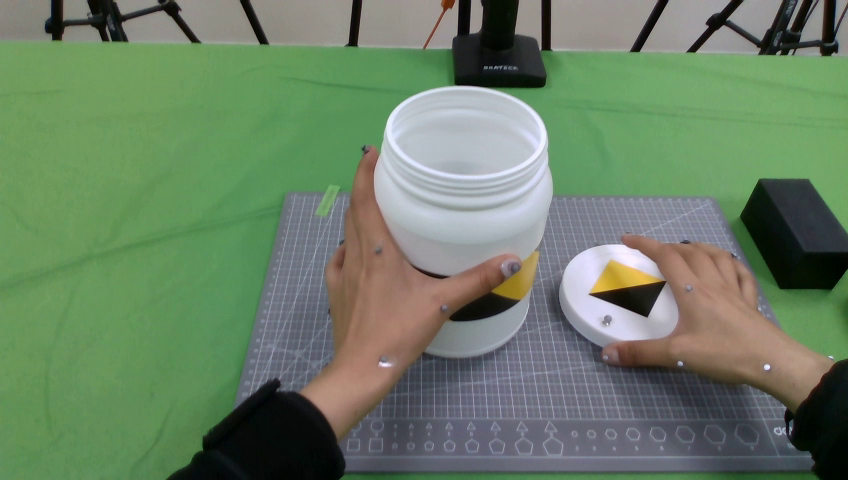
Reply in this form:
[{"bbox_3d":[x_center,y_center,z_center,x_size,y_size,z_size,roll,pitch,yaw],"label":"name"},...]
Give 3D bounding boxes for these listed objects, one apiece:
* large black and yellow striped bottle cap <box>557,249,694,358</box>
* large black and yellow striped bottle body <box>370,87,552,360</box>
[{"bbox_3d":[0.174,0.052,0.526,0.115,0.019,0.114,1,43,0],"label":"large black and yellow striped bottle cap"},{"bbox_3d":[0.025,-0.009,0.467,0.131,0.185,0.129,1,45,-1],"label":"large black and yellow striped bottle body"}]
